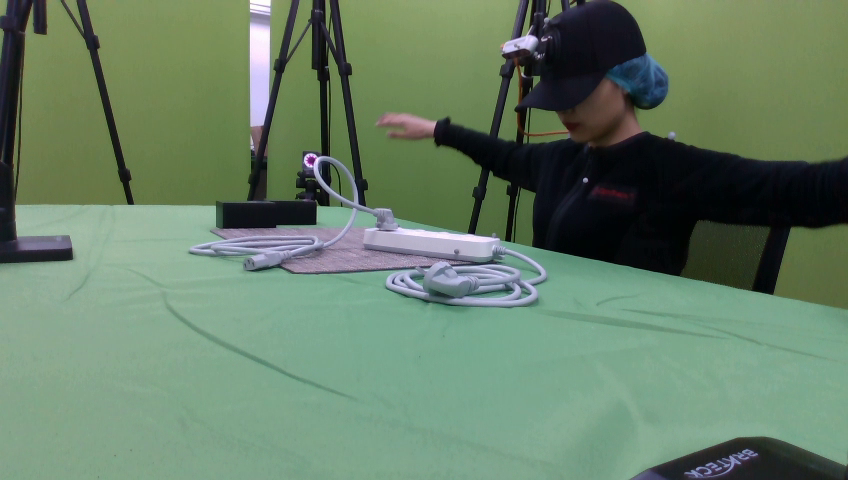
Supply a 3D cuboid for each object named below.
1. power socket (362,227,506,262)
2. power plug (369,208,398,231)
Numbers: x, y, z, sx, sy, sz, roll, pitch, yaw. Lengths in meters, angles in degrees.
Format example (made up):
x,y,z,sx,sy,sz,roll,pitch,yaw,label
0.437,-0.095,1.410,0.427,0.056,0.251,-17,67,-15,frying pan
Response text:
x,y,z,sx,sy,sz,roll,pitch,yaw,label
0.009,0.004,0.909,0.226,0.032,0.072,7,9,28,power socket
-0.069,-0.023,0.915,0.035,0.052,0.073,9,9,39,power plug
